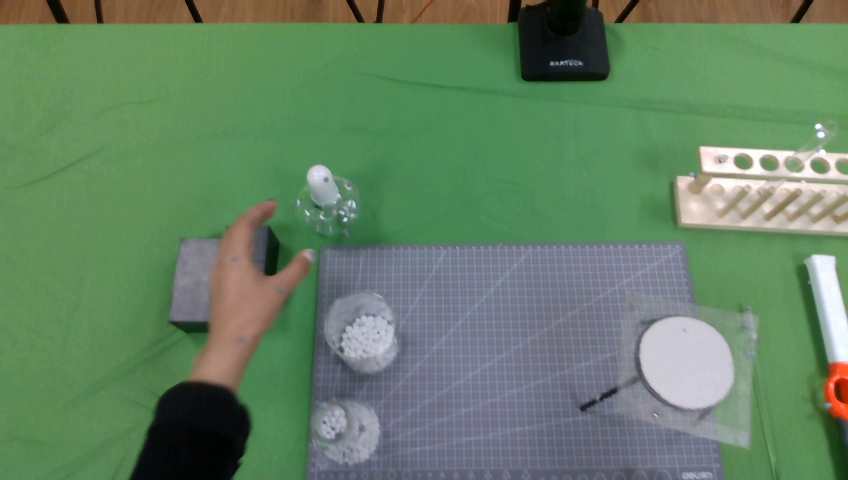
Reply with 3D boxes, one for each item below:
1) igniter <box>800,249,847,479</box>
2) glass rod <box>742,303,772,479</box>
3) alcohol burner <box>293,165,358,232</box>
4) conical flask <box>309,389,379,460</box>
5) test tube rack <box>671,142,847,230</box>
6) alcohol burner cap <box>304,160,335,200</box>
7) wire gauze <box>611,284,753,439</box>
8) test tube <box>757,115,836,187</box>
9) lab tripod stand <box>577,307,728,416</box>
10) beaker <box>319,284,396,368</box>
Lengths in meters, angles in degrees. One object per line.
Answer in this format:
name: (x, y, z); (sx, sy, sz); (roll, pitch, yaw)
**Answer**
igniter: (0.469, 0.141, 0.684); (0.057, 0.025, 0.274); (5, 69, -8)
glass rod: (0.376, 0.168, 0.685); (0.008, 0.008, 0.198); (1, 72, 1)
alcohol burner: (-0.119, -0.056, 0.715); (0.078, 0.120, 0.077); (-1, 70, 2)
conical flask: (-0.087, 0.183, 0.617); (0.075, 0.122, 0.075); (0, 69, 0)
test tube rack: (0.436, -0.063, 0.730); (0.242, 0.086, 0.066); (3, 69, 2)
alcohol burner cap: (-0.119, -0.071, 0.683); (0.034, 0.048, 0.033); (0, 63, 0)
wire gauze: (0.241, 0.109, 0.565); (0.125, 0.011, 0.121); (13, 71, 6)
test tube: (0.420, -0.095, 0.690); (0.017, 0.151, 0.017); (-1, 69, 3)
lab tripod stand: (0.239, 0.132, 0.629); (0.148, 0.132, 0.147); (0, 71, 1)
beaker: (-0.065, 0.100, 0.661); (0.083, 0.101, 0.074); (34, 73, 12)
